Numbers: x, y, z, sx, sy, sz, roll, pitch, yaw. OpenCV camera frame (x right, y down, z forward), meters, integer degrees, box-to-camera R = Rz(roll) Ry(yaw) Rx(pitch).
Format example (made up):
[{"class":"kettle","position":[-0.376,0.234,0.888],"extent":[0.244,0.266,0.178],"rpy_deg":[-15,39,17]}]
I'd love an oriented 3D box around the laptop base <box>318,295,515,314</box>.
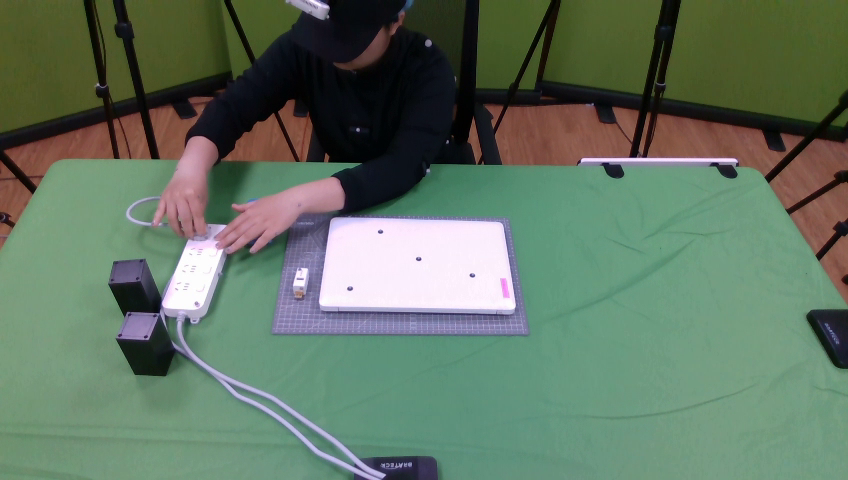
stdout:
[{"class":"laptop base","position":[-0.014,0.049,1.150],"extent":[0.354,0.023,0.234],"rpy_deg":[1,42,-3]}]

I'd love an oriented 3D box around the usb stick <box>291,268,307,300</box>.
[{"class":"usb stick","position":[-0.226,0.081,1.094],"extent":[0.021,0.027,0.059],"rpy_deg":[5,48,-2]}]

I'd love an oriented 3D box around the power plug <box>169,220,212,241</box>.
[{"class":"power plug","position":[-0.436,-0.017,1.149],"extent":[0.072,0.053,0.035],"rpy_deg":[11,48,18]}]

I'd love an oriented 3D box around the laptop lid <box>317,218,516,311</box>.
[{"class":"laptop lid","position":[-0.013,0.040,1.143],"extent":[0.357,0.013,0.240],"rpy_deg":[3,43,-2]}]

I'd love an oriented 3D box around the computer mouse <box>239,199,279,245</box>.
[{"class":"computer mouse","position":[-0.326,-0.039,1.200],"extent":[0.063,0.041,0.116],"rpy_deg":[4,49,-3]}]

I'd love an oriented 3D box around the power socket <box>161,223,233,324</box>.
[{"class":"power socket","position":[-0.410,0.051,1.107],"extent":[0.072,0.033,0.225],"rpy_deg":[5,46,-1]}]
